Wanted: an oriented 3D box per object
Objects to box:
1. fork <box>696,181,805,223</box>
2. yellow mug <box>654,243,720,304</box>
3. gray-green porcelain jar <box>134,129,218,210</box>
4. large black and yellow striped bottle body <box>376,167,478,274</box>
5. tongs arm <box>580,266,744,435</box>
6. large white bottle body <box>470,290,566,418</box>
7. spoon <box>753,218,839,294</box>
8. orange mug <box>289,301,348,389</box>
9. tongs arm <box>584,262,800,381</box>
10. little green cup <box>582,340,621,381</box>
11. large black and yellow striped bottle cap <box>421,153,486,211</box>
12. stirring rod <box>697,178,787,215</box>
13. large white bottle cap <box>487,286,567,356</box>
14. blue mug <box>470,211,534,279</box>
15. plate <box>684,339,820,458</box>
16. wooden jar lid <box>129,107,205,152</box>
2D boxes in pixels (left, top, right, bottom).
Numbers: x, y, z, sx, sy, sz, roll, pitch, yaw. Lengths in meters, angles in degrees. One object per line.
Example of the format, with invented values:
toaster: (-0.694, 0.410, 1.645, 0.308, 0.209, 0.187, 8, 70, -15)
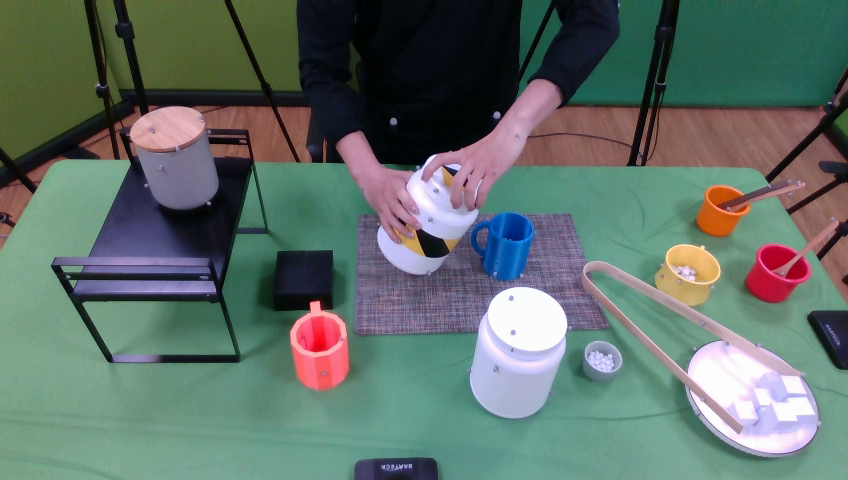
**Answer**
fork: (0.659, -0.077, 1.232, 0.207, 0.019, 0.028, -26, 35, 34)
yellow mug: (0.504, 0.054, 1.154, 0.099, 0.064, 0.130, 28, 49, 22)
gray-green porcelain jar: (-0.388, -0.120, 0.960, 0.106, 0.127, 0.105, 2, 46, -2)
large black and yellow striped bottle body: (0.011, -0.043, 1.038, 0.131, 0.184, 0.130, 20, 41, -18)
tongs arm: (0.384, 0.174, 1.029, 0.028, 0.028, 0.385, -26, 46, -14)
large white bottle body: (0.143, 0.173, 0.930, 0.131, 0.185, 0.130, 2, 46, -2)
spoon: (0.700, 0.031, 1.138, 0.194, 0.022, 0.041, -47, 55, 14)
orange mug: (-0.170, 0.162, 0.976, 0.083, 0.101, 0.125, -8, 52, -11)
tongs arm: (0.452, 0.137, 1.064, 0.051, 0.027, 0.382, -34, 50, -26)
little green cup: (0.295, 0.204, 1.015, 0.061, 0.039, 0.061, 2, 45, -2)
large black and yellow striped bottle cap: (0.049, -0.095, 0.986, 0.115, 0.019, 0.114, 19, 43, -18)
stirring rod: (0.650, -0.088, 1.245, 0.006, 0.176, 0.014, 29, 50, -39)
large white bottle cap: (0.147, 0.115, 0.869, 0.115, 0.018, 0.114, 3, 46, -3)
blue mug: (0.141, 0.005, 1.140, 0.116, 0.106, 0.082, 18, 48, 13)
plate: (0.523, 0.256, 0.982, 0.208, 0.039, 0.206, 2, 46, -2)
wooden jar lid: (-0.385, -0.163, 0.915, 0.108, 0.021, 0.107, 2, 47, -2)
